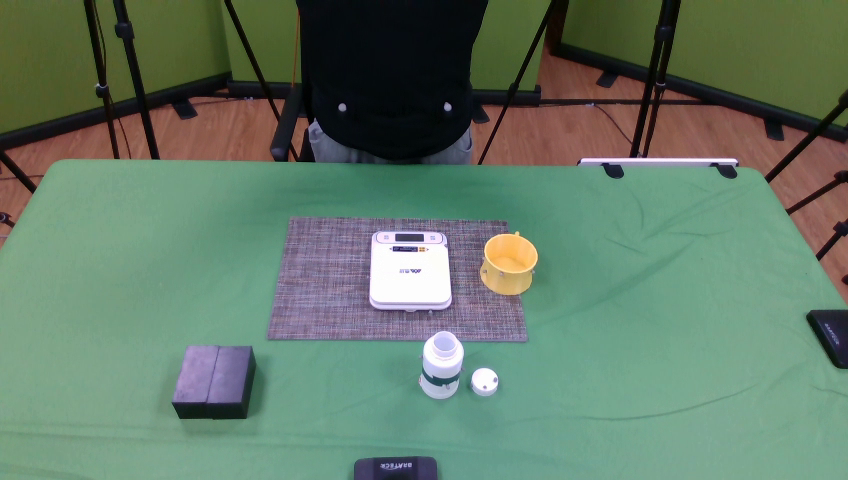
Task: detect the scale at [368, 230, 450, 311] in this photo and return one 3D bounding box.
[{"bbox_3d":[-0.029,0.048,1.137,0.149,0.032,0.199,1,46,-4],"label":"scale"}]

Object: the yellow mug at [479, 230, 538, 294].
[{"bbox_3d":[0.161,0.033,1.143,0.100,0.064,0.130,14,46,9],"label":"yellow mug"}]

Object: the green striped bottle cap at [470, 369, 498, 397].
[{"bbox_3d":[0.098,0.232,0.989,0.044,0.020,0.044,2,41,-1],"label":"green striped bottle cap"}]

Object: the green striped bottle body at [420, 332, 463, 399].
[{"bbox_3d":[0.027,0.193,0.947,0.063,0.120,0.063,2,47,-2],"label":"green striped bottle body"}]
